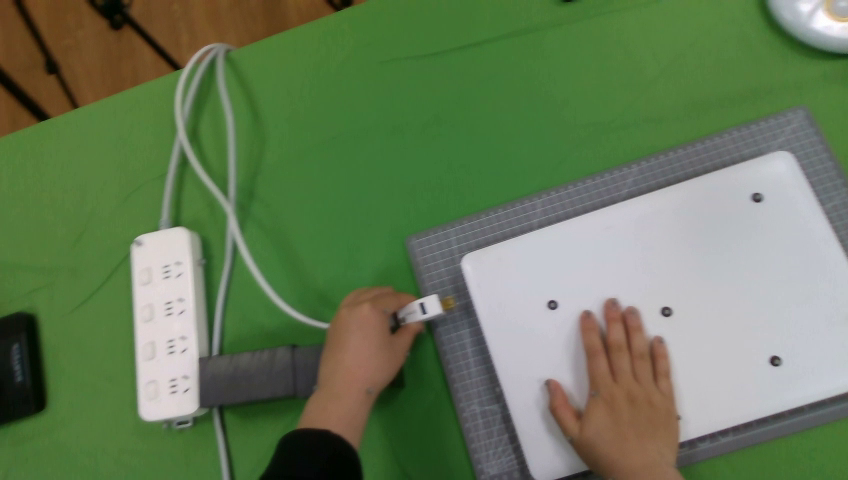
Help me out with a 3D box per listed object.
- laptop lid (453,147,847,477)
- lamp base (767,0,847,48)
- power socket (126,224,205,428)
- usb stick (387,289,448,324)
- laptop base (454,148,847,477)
[{"bbox_3d":[0.227,0.066,0.590,0.356,0.013,0.240,-17,77,4],"label":"laptop lid"},{"bbox_3d":[0.443,-0.311,0.582,0.160,0.181,0.178,15,75,12],"label":"lamp base"},{"bbox_3d":[-0.285,0.089,0.664,0.072,0.033,0.225,-11,74,4],"label":"power socket"},{"bbox_3d":[-0.005,0.065,0.614,0.059,0.027,0.021,-20,74,1],"label":"usb stick"},{"bbox_3d":[0.228,0.066,0.601,0.354,0.023,0.234,-19,78,3],"label":"laptop base"}]
